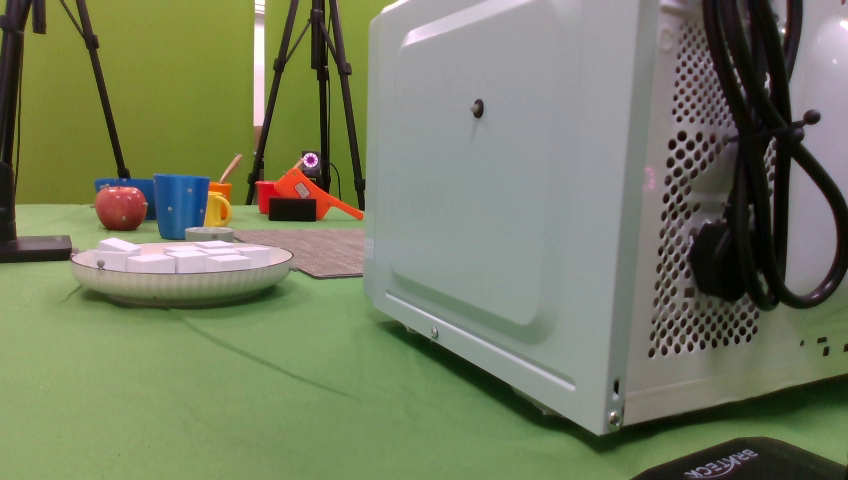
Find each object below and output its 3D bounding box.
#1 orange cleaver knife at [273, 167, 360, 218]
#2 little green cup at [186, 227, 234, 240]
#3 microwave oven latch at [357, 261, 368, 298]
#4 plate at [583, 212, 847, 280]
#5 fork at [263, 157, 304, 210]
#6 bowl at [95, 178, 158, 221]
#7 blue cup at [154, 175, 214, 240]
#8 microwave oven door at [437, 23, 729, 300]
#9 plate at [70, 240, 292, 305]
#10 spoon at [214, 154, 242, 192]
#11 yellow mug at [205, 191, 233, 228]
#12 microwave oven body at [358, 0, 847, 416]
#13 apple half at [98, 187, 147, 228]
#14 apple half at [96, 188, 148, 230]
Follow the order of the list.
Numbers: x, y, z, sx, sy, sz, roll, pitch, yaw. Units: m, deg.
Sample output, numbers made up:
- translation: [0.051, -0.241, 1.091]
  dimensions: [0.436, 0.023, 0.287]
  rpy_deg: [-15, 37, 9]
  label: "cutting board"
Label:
- translation: [-0.238, -0.091, 1.381]
  dimensions: [0.212, 0.077, 0.012]
  rpy_deg: [31, 0, -19]
  label: "orange cleaver knife"
- translation: [-0.285, 0.005, 0.805]
  dimensions: [0.061, 0.038, 0.061]
  rpy_deg: [2, 8, 0]
  label: "little green cup"
- translation: [-0.019, 0.033, 0.530]
  dimensions: [0.079, 0.029, 0.030]
  rpy_deg: [-1, 7, -27]
  label: "microwave oven latch"
- translation: [0.239, 0.002, 0.510]
  dimensions: [0.209, 0.038, 0.209]
  rpy_deg: [2, 7, 0]
  label: "plate"
- translation: [-0.345, -0.143, 1.505]
  dimensions: [0.028, 0.019, 0.207]
  rpy_deg: [-4, 46, 28]
  label: "fork"
- translation: [-0.576, -0.081, 1.217]
  dimensions: [0.151, 0.077, 0.151]
  rpy_deg: [3, 8, 0]
  label: "bowl"
- translation: [-0.390, -0.053, 0.978]
  dimensions: [0.093, 0.100, 0.092]
  rpy_deg: [3, 6, 0]
  label: "blue cup"
- translation: [0.181, -0.072, 0.621]
  dimensions: [0.358, 0.243, 0.039]
  rpy_deg: [-2, 8, -29]
  label: "microwave oven door"
- translation: [-0.242, 0.031, 0.618]
  dimensions: [0.208, 0.039, 0.207]
  rpy_deg: [2, 8, 0]
  label: "plate"
- translation: [-0.439, -0.124, 1.318]
  dimensions: [0.041, 0.193, 0.022]
  rpy_deg: [6, -36, 15]
  label: "spoon"
- translation: [-0.415, -0.057, 1.132]
  dimensions: [0.130, 0.064, 0.100]
  rpy_deg: [6, 8, 16]
  label: "yellow mug"
- translation: [0.211, -0.047, 0.474]
  dimensions: [0.444, 0.260, 0.324]
  rpy_deg: [-1, 7, -28]
  label: "microwave oven body"
- translation: [-0.534, -0.059, 1.071]
  dimensions: [0.082, 0.081, 0.032]
  rpy_deg: [-1, 11, -25]
  label: "apple half"
- translation: [-0.517, -0.052, 1.036]
  dimensions: [0.081, 0.074, 0.053]
  rpy_deg: [2, 10, -26]
  label: "apple half"
